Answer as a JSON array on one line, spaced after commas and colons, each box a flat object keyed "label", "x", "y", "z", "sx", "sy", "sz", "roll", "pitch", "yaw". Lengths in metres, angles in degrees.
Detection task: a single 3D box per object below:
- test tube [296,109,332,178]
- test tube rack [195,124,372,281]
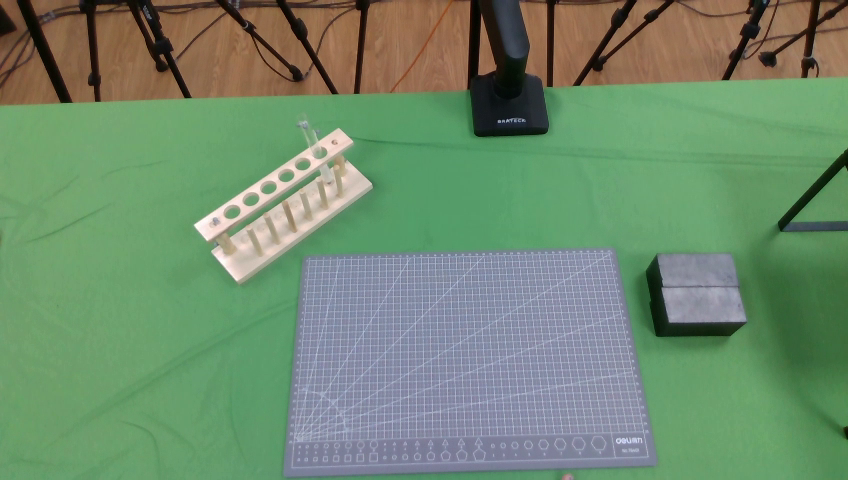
[{"label": "test tube", "x": -0.151, "y": -0.130, "z": 0.846, "sx": 0.017, "sy": 0.151, "sz": 0.017, "roll": -2, "pitch": 64, "yaw": 4}, {"label": "test tube rack", "x": -0.191, "y": -0.055, "z": 0.861, "sx": 0.242, "sy": 0.086, "sz": 0.066, "roll": -39, "pitch": 67, "yaw": -19}]
